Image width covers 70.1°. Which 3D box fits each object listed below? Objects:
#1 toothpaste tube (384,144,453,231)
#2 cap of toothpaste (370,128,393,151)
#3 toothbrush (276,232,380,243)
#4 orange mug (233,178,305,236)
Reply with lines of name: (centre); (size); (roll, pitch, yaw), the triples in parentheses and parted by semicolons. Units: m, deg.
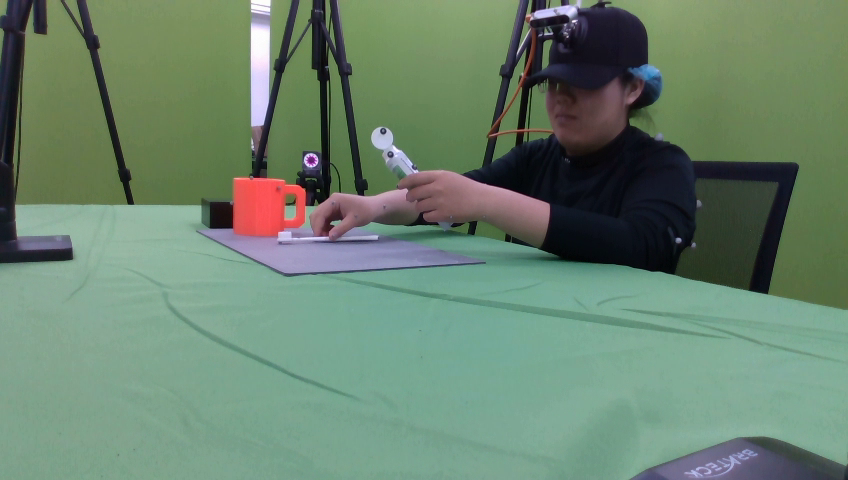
toothpaste tube: (-0.010, -0.087, 0.962); (0.034, 0.165, 0.055); (-37, -1, -16)
cap of toothpaste: (-0.065, -0.157, 0.945); (0.037, 0.037, 0.011); (2, 14, -4)
toothbrush: (-0.153, -0.005, 0.990); (0.183, 0.016, 0.014); (-1, -1, -34)
orange mug: (-0.273, -0.061, 1.067); (0.127, 0.101, 0.083); (-5, 10, -24)
